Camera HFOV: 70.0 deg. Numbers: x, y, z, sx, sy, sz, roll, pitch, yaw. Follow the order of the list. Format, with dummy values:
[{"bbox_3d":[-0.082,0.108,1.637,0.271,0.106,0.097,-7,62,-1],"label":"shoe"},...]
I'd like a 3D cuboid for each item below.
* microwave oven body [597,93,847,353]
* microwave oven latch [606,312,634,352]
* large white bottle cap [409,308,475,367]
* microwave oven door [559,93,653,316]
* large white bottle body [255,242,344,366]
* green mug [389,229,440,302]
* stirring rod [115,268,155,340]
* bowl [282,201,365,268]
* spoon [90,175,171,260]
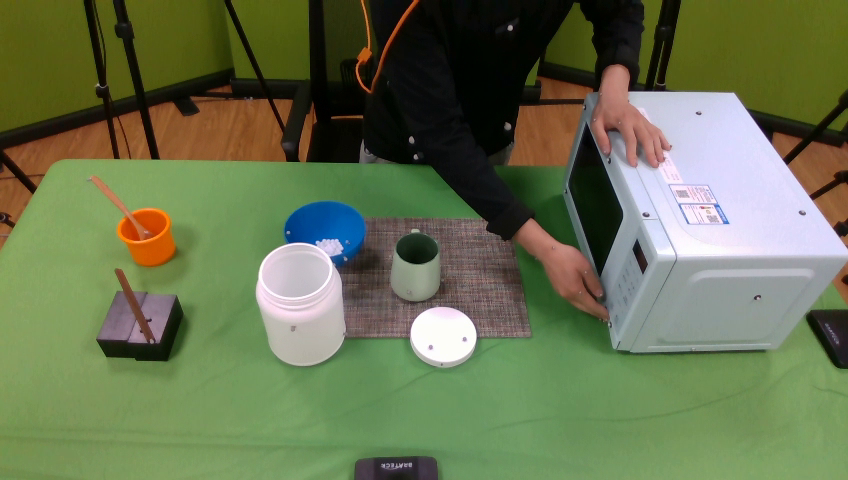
[{"bbox_3d":[0.476,-0.041,1.110,0.326,0.261,0.438,-1,45,-4],"label":"microwave oven body"},{"bbox_3d":[0.335,0.154,1.043,0.030,0.029,0.078,3,45,0],"label":"microwave oven latch"},{"bbox_3d":[0.031,0.166,1.041,0.115,0.018,0.114,2,46,-2],"label":"large white bottle cap"},{"bbox_3d":[0.327,-0.074,1.123,0.039,0.245,0.353,-1,46,-5],"label":"microwave oven door"},{"bbox_3d":[-0.196,0.102,0.967,0.131,0.185,0.130,2,49,-2],"label":"large white bottle body"},{"bbox_3d":[-0.017,0.039,1.100,0.092,0.105,0.124,-1,46,-4],"label":"green mug"},{"bbox_3d":[-0.478,0.103,0.999,0.014,0.006,0.175,8,32,-50],"label":"stirring rod"},{"bbox_3d":[-0.186,0.005,1.137,0.151,0.077,0.150,3,46,-3],"label":"bowl"},{"bbox_3d":[-0.538,-0.042,1.111,0.021,0.194,0.041,-14,26,51],"label":"spoon"}]
